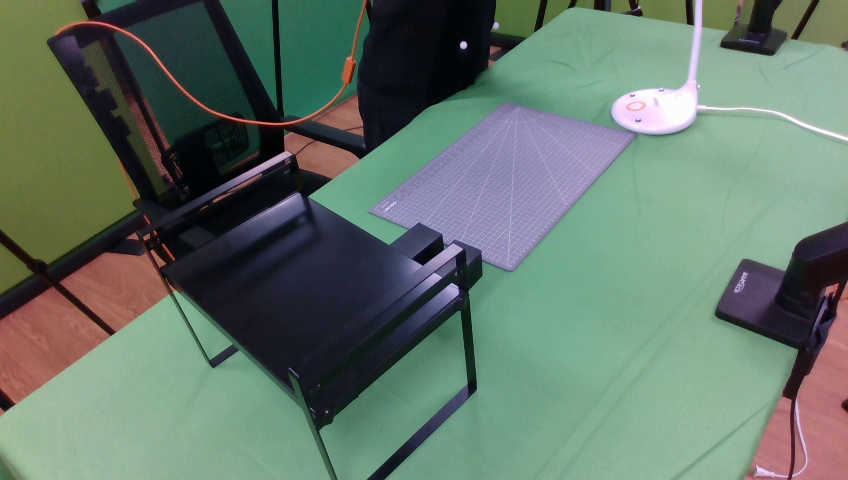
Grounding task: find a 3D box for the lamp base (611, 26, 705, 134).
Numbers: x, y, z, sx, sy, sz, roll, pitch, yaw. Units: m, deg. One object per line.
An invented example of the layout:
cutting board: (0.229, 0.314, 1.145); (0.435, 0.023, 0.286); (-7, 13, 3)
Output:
lamp base: (0.460, -0.316, 1.154); (0.179, 0.181, 0.159); (-6, 41, -1)
